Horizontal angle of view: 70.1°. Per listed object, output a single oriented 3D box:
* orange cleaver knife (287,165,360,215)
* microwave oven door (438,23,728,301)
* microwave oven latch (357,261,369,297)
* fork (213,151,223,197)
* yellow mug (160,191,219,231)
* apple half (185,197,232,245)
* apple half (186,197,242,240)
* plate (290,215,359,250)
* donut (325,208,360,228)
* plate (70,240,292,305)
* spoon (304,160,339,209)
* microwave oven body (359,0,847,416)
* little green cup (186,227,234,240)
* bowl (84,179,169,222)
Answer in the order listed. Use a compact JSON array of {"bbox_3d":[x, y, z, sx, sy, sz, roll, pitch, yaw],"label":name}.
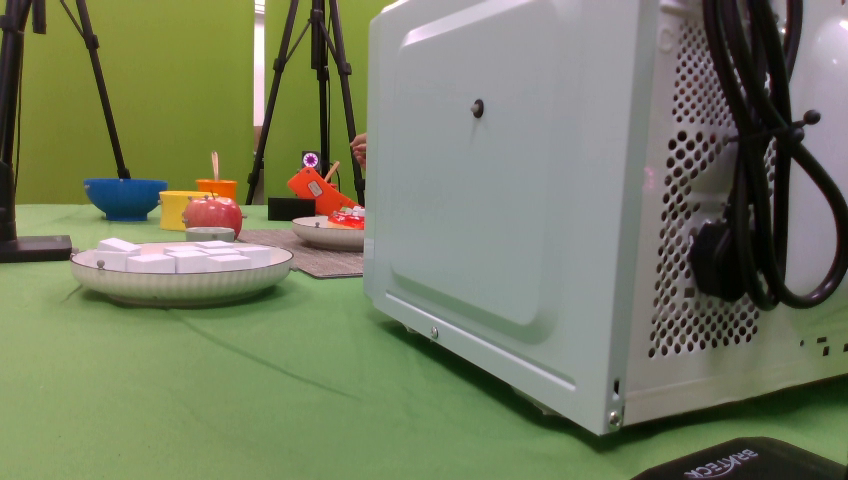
[{"bbox_3d":[-0.210,-0.093,1.382,0.212,0.077,0.012,33,1,-15],"label":"orange cleaver knife"},{"bbox_3d":[0.181,-0.072,0.621,0.358,0.243,0.039,-2,8,-29],"label":"microwave oven door"},{"bbox_3d":[-0.019,0.033,0.531,0.079,0.029,0.030,-1,7,-27],"label":"microwave oven latch"},{"bbox_3d":[-0.494,-0.143,1.442,0.028,0.018,0.206,-2,52,-20],"label":"fork"},{"bbox_3d":[-0.416,-0.053,1.103,0.130,0.064,0.100,7,8,27],"label":"yellow mug"},{"bbox_3d":[-0.337,-0.031,0.927,0.032,0.081,0.082,13,13,37],"label":"apple half"},{"bbox_3d":[-0.306,-0.026,0.905,0.053,0.074,0.081,14,9,37],"label":"apple half"},{"bbox_3d":[-0.110,-0.014,0.973,0.209,0.038,0.209,3,8,0],"label":"plate"},{"bbox_3d":[-0.110,-0.025,0.974,0.099,0.048,0.099,5,8,0],"label":"donut"},{"bbox_3d":[-0.242,0.031,0.618,0.208,0.039,0.207,2,8,0],"label":"plate"},{"bbox_3d":[-0.258,-0.147,1.567,0.041,0.022,0.193,5,51,21],"label":"spoon"},{"bbox_3d":[0.211,-0.047,0.474,0.444,0.260,0.324,-1,7,-28],"label":"microwave oven body"},{"bbox_3d":[-0.284,0.005,0.805,0.061,0.038,0.061,2,8,0],"label":"little green cup"},{"bbox_3d":[-0.584,-0.078,1.194,0.151,0.077,0.151,3,8,0],"label":"bowl"}]
